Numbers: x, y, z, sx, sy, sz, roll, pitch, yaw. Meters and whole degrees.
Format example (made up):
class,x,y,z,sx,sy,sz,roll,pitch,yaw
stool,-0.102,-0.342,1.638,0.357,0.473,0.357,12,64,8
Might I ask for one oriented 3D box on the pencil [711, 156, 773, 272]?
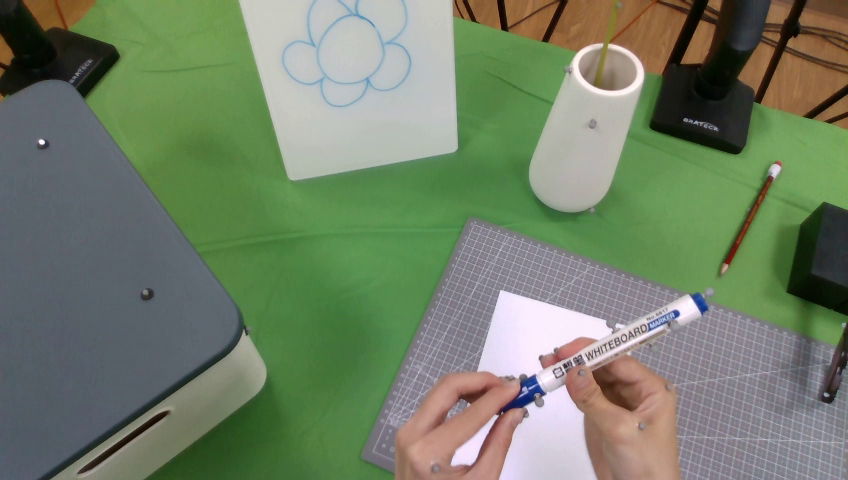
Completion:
class,x,y,z,sx,sy,sz,roll,pitch,yaw
pencil,0.384,-0.034,0.731,0.012,0.012,0.193,31,67,15

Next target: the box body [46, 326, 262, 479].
class,x,y,z,sx,sy,sz,roll,pitch,yaw
box body,-0.357,0.059,0.580,0.254,0.161,0.361,-37,68,-19

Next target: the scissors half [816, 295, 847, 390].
class,x,y,z,sx,sy,sz,roll,pitch,yaw
scissors half,0.428,0.073,0.614,0.012,0.040,0.174,19,64,30

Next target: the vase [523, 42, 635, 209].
class,x,y,z,sx,sy,sz,roll,pitch,yaw
vase,0.167,-0.119,0.666,0.098,0.201,0.097,0,60,0

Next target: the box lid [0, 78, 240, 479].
class,x,y,z,sx,sy,sz,roll,pitch,yaw
box lid,-0.357,0.022,0.515,0.263,0.015,0.368,-37,68,-19

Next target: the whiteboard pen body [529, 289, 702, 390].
class,x,y,z,sx,sy,sz,roll,pitch,yaw
whiteboard pen body,0.113,0.071,0.396,0.141,0.017,0.017,-31,63,13

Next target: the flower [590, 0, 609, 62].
class,x,y,z,sx,sy,sz,roll,pitch,yaw
flower,0.166,-0.173,0.600,0.044,0.365,0.038,14,45,10

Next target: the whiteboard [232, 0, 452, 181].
class,x,y,z,sx,sy,sz,roll,pitch,yaw
whiteboard,-0.094,-0.251,0.706,0.217,0.308,0.142,-11,43,-6

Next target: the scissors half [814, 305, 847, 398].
class,x,y,z,sx,sy,sz,roll,pitch,yaw
scissors half,0.437,0.082,0.631,0.012,0.040,0.175,18,81,35

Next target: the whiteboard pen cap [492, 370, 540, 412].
class,x,y,z,sx,sy,sz,roll,pitch,yaw
whiteboard pen cap,0.064,0.103,0.410,0.033,0.018,0.018,-33,63,14
